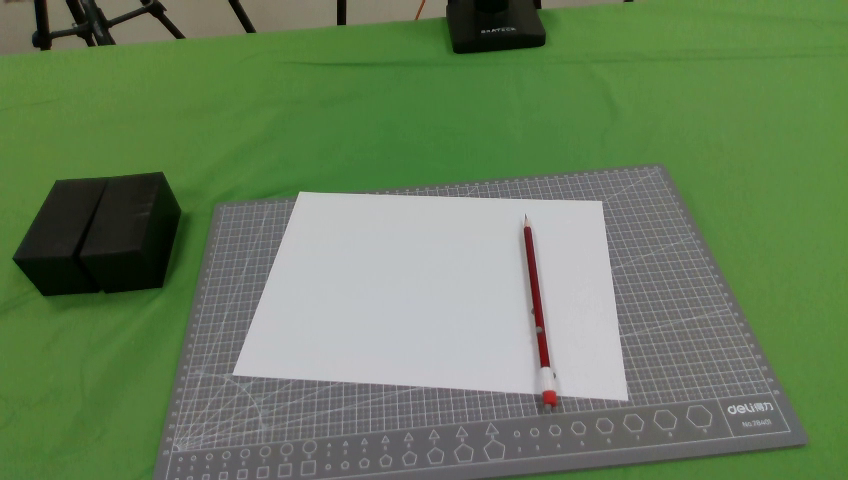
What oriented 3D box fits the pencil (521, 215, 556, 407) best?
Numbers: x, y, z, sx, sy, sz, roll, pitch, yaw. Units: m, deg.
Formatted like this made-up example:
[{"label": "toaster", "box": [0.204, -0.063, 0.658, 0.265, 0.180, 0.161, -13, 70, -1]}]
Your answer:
[{"label": "pencil", "box": [0.091, 0.048, 0.498, 0.012, 0.012, 0.192, -1, 47, 2]}]
